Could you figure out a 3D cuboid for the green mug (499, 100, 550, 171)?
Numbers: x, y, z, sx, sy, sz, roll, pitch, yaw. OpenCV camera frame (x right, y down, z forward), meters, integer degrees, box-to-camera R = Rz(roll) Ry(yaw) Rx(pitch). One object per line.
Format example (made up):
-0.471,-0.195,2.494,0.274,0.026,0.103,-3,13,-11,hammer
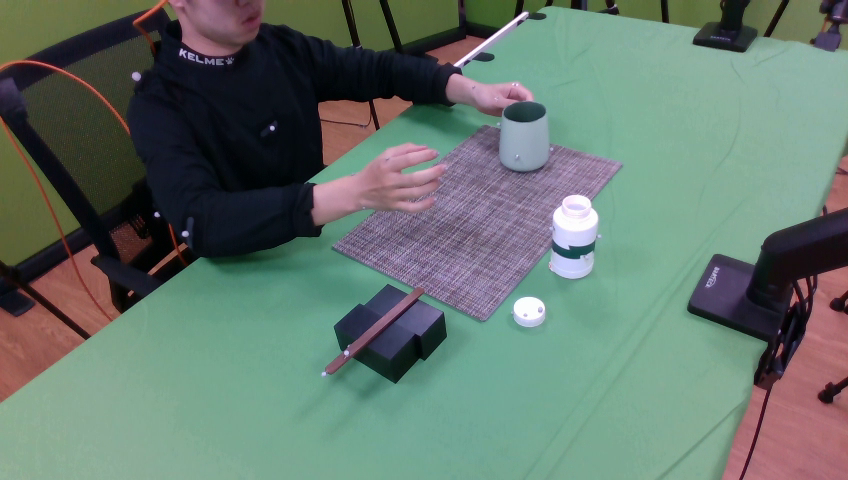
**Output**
0.183,-0.198,1.101,0.092,0.105,0.125,-1,41,8,green mug

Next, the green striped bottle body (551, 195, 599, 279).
0.217,-0.006,0.870,0.063,0.120,0.063,-4,41,4,green striped bottle body

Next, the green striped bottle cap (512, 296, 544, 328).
0.144,0.099,0.837,0.044,0.020,0.044,-1,43,2,green striped bottle cap

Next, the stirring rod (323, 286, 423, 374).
-0.062,0.113,0.781,0.014,0.006,0.177,25,49,33,stirring rod
